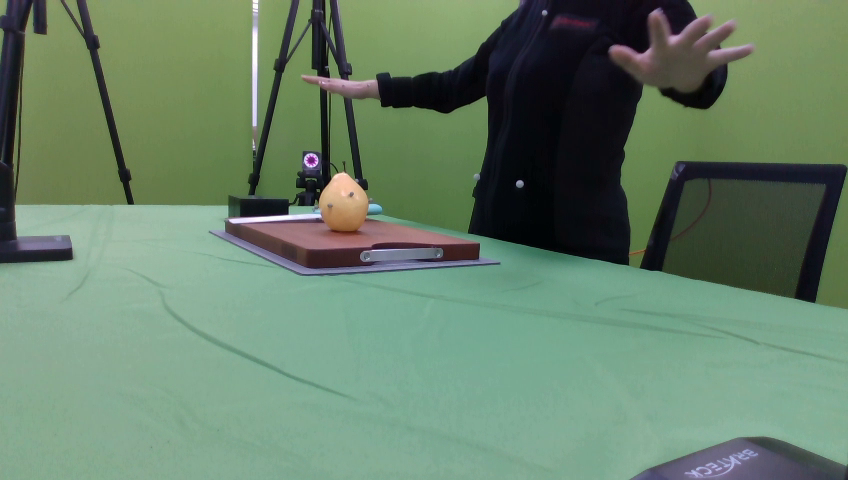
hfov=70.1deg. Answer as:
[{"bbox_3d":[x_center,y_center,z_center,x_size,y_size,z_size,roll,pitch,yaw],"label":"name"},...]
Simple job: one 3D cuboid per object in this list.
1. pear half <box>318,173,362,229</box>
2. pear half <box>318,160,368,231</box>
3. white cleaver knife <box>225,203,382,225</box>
[{"bbox_3d":[-0.136,-0.062,0.959,0.071,0.088,0.031,-7,11,-29],"label":"pear half"},{"bbox_3d":[-0.120,-0.067,0.927,0.077,0.110,0.055,-7,11,-29],"label":"pear half"},{"bbox_3d":[-0.202,-0.040,1.069,0.288,0.021,0.065,-8,17,-32],"label":"white cleaver knife"}]
